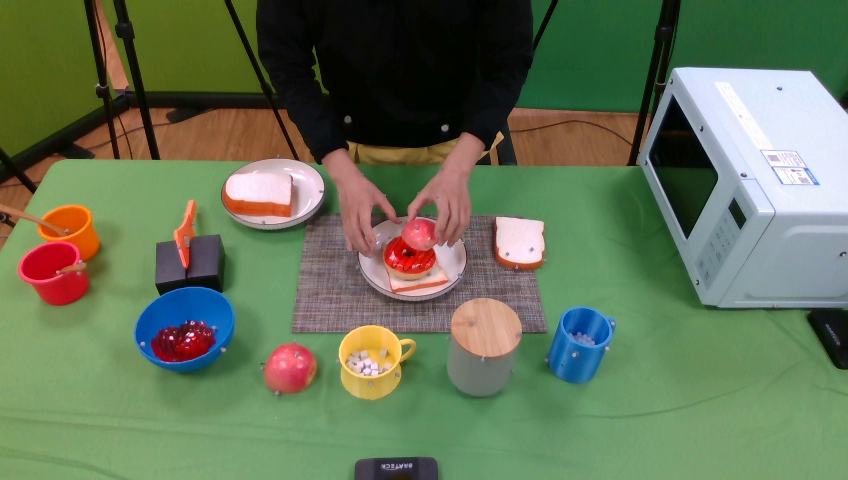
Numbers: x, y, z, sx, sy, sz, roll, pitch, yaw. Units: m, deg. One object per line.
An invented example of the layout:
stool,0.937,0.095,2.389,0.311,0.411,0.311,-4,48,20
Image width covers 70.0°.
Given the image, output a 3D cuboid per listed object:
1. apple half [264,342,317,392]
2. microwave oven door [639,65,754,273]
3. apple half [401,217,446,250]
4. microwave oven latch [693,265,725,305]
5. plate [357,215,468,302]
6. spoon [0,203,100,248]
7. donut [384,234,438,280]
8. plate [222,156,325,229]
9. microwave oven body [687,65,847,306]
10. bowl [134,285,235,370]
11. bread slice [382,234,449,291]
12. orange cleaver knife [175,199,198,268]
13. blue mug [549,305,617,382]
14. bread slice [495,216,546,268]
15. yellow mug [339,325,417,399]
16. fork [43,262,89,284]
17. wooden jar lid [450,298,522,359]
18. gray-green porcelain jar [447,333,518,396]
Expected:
apple half,-0.214,0.198,0.970,0.074,0.053,0.080,19,48,10
microwave oven door,0.522,-0.147,1.193,0.039,0.245,0.353,0,47,-3
apple half,-0.001,-0.020,1.065,0.081,0.033,0.081,6,39,-4
microwave oven latch,0.523,0.081,1.115,0.030,0.029,0.078,2,46,-1
plate,-0.022,0.037,1.141,0.208,0.039,0.206,2,46,-2
spoon,-0.683,-0.031,1.088,0.195,0.021,0.041,33,33,-38
donut,-0.025,0.029,1.109,0.099,0.048,0.098,2,47,-1
plate,-0.308,-0.095,1.251,0.209,0.038,0.208,2,47,-2
microwave oven body,0.669,-0.111,1.176,0.326,0.261,0.439,0,46,-3
bowl,-0.377,0.155,0.981,0.151,0.077,0.150,2,46,-2
bread slice,-0.026,0.038,1.140,0.107,0.018,0.133,-11,47,-15
orange cleaver knife,-0.438,-0.017,1.138,0.012,0.077,0.210,-13,27,-7
blue mug,0.269,0.166,0.998,0.116,0.106,0.082,-19,51,-21
bread slice,0.194,0.002,1.204,0.105,0.019,0.131,6,45,2
yellow mug,-0.072,0.190,0.978,0.131,0.064,0.099,-17,50,-20
fork,-0.599,0.053,1.013,0.207,0.019,0.028,-14,30,45
wooden jar lid,0.093,0.135,0.914,0.108,0.021,0.107,3,48,-3
gray-green porcelain jar,0.091,0.178,0.960,0.106,0.127,0.105,2,46,-2
